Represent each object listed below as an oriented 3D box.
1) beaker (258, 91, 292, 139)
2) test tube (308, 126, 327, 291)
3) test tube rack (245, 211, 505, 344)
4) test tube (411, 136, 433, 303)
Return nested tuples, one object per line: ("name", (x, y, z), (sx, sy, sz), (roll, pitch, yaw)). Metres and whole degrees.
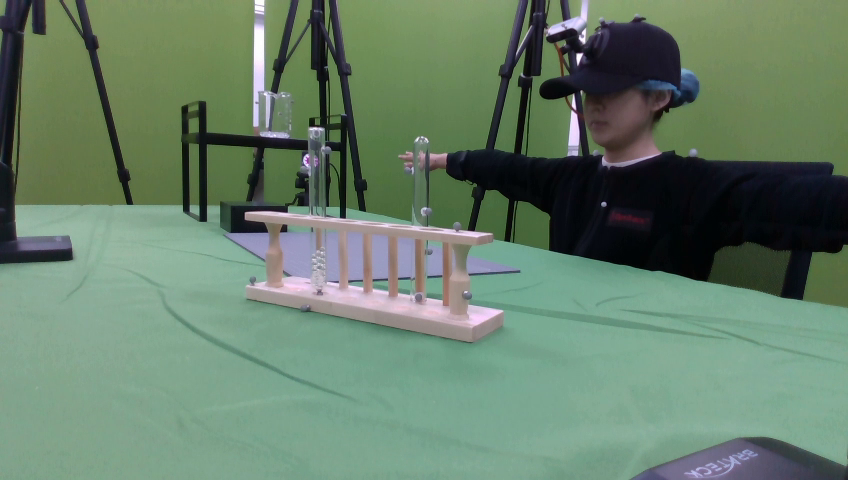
("beaker", (-0.331, -0.276, 1.343), (0.074, 0.100, 0.083), (0, 8, -20))
("test tube", (-0.096, -0.028, 0.549), (0.017, 0.150, 0.017), (1, 7, 0))
("test tube rack", (-0.049, 0.024, 0.547), (0.241, 0.085, 0.067), (7, 8, 28))
("test tube", (-0.002, -0.017, 0.538), (0.017, 0.150, 0.017), (2, 7, 0))
